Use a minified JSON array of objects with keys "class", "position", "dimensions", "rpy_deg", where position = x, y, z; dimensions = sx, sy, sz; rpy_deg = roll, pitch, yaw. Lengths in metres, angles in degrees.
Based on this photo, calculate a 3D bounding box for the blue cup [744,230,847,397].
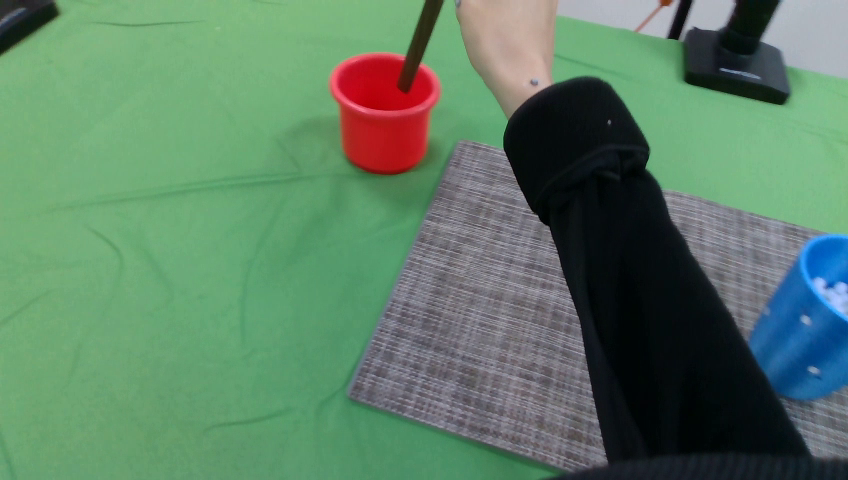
[{"class":"blue cup","position":[0.274,0.058,0.417],"dimensions":[0.093,0.101,0.091],"rpy_deg":[4,48,-5]}]

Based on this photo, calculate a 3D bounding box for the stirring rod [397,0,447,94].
[{"class":"stirring rod","position":[0.009,-0.178,0.458],"dimensions":[0.014,0.177,0.006],"rpy_deg":[36,52,5]}]
